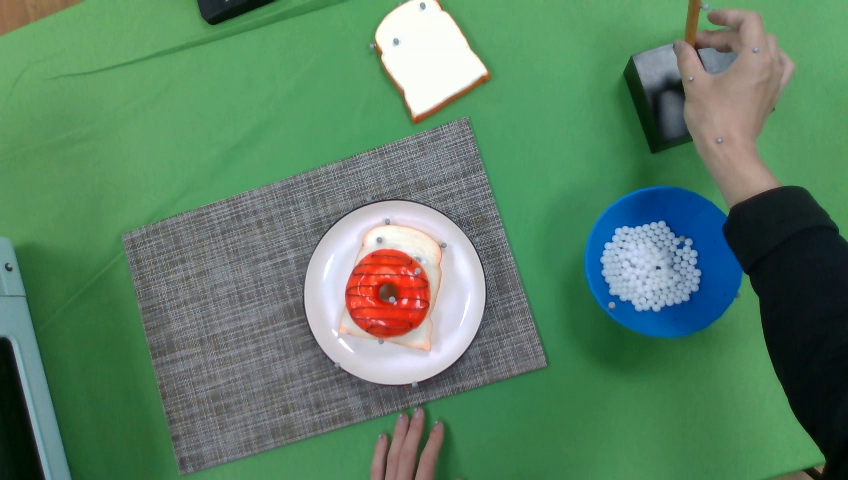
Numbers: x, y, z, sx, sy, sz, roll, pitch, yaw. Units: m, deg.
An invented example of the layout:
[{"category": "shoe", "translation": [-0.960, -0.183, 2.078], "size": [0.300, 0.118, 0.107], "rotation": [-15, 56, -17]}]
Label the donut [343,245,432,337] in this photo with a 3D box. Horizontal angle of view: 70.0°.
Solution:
[{"category": "donut", "translation": [-0.039, 0.055, 0.656], "size": [0.099, 0.048, 0.099], "rotation": [-1, 85, 9]}]

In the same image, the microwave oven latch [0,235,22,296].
[{"category": "microwave oven latch", "translation": [-0.518, 0.032, 0.736], "size": [0.030, 0.029, 0.079], "rotation": [-20, 84, 5]}]

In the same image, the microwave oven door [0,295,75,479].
[{"category": "microwave oven door", "translation": [-0.463, 0.227, 0.609], "size": [0.039, 0.244, 0.354], "rotation": [-20, 83, 6]}]

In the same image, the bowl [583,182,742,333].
[{"category": "bowl", "translation": [0.238, 0.020, 0.633], "size": [0.151, 0.077, 0.151], "rotation": [-1, 85, 8]}]

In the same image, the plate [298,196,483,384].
[{"category": "plate", "translation": [-0.036, 0.056, 0.683], "size": [0.207, 0.039, 0.207], "rotation": [-1, 85, 7]}]

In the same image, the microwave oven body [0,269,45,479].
[{"category": "microwave oven body", "translation": [-0.613, 0.238, 0.633], "size": [0.326, 0.261, 0.440], "rotation": [-20, 83, 5]}]

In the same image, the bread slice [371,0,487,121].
[{"category": "bread slice", "translation": [-0.003, -0.221, 0.717], "size": [0.105, 0.019, 0.131], "rotation": [-32, 83, 3]}]

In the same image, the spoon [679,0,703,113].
[{"category": "spoon", "translation": [0.259, -0.185, 0.590], "size": [0.021, 0.195, 0.041], "rotation": [-23, 62, 15]}]

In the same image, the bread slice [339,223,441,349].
[{"category": "bread slice", "translation": [-0.035, 0.048, 0.684], "size": [0.107, 0.018, 0.134], "rotation": [7, 86, 8]}]
